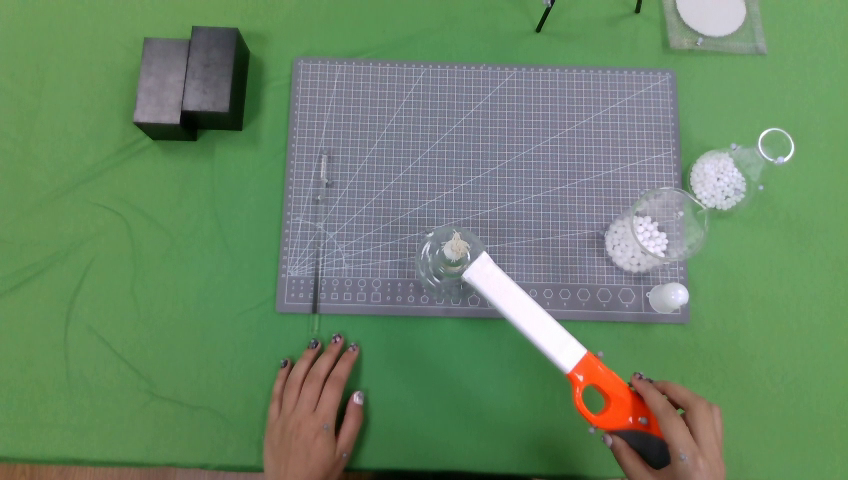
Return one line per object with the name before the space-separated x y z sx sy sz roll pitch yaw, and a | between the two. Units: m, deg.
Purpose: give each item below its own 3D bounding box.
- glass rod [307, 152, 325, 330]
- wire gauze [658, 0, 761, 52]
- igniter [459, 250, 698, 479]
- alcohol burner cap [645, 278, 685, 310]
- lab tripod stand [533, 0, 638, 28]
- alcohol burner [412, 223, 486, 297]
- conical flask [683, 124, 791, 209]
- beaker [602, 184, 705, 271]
glass rod | -0.118 -0.001 0.667 0.008 0.008 0.199 3 82 -1
wire gauze | 0.346 -0.288 0.736 0.125 0.011 0.121 0 79 -3
igniter | 0.140 0.115 0.540 0.276 0.025 0.057 44 79 2
alcohol burner cap | 0.261 0.056 0.647 0.034 0.048 0.033 0 78 -1
lab tripod stand | 0.186 -0.313 0.674 0.148 0.132 0.148 0 81 -1
alcohol burner | 0.026 0.016 0.613 0.078 0.119 0.077 0 77 1
conical flask | 0.333 -0.082 0.638 0.075 0.122 0.075 0 78 -1
beaker | 0.234 -0.010 0.630 0.084 0.100 0.073 -22 80 -6
